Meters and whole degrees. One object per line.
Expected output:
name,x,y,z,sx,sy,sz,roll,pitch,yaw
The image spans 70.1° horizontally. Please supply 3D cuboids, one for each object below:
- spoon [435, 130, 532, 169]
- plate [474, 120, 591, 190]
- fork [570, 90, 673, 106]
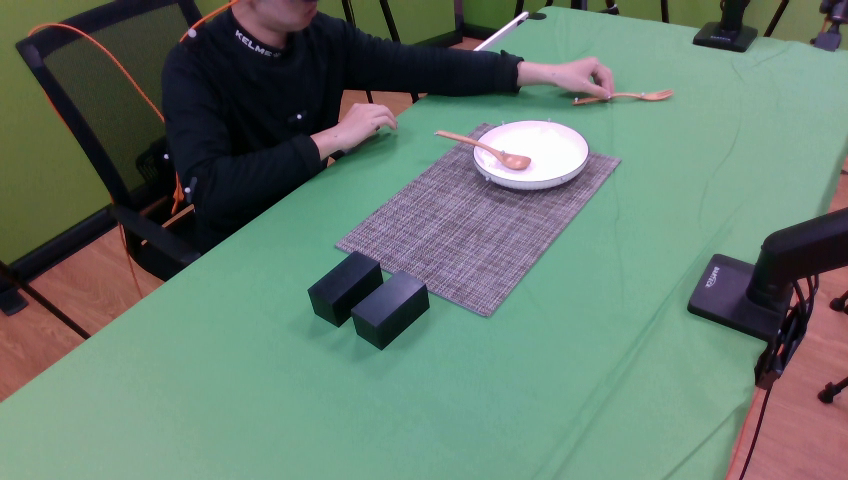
spoon,0.107,-0.171,1.112,0.193,0.022,0.041,25,53,15
plate,0.196,-0.151,1.099,0.207,0.039,0.206,-4,40,4
fork,0.409,-0.294,1.256,0.207,0.019,0.028,-3,46,3
